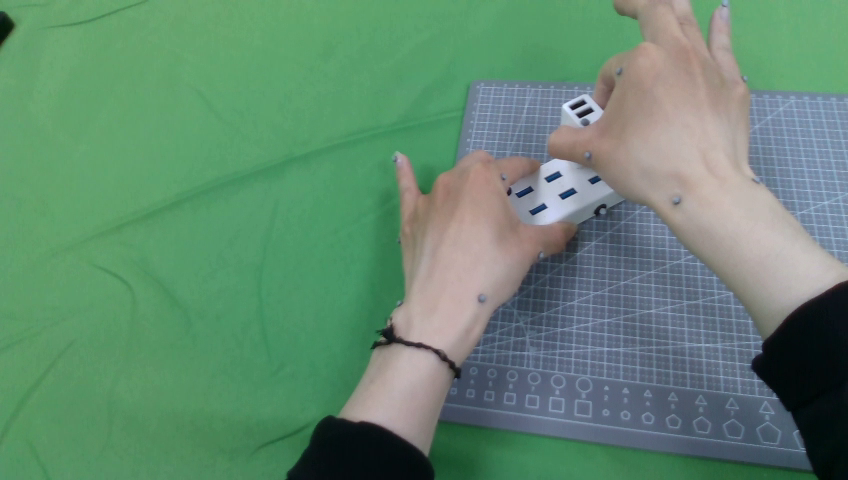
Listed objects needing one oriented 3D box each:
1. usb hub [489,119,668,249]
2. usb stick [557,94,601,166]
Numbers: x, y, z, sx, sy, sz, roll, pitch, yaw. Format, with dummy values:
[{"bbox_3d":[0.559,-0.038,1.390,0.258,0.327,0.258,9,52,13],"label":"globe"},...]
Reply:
[{"bbox_3d":[0.113,-0.044,0.447,0.125,0.025,0.049,-28,52,-9],"label":"usb hub"},{"bbox_3d":[0.110,-0.073,0.432,0.021,0.060,0.027,-31,57,-6],"label":"usb stick"}]
